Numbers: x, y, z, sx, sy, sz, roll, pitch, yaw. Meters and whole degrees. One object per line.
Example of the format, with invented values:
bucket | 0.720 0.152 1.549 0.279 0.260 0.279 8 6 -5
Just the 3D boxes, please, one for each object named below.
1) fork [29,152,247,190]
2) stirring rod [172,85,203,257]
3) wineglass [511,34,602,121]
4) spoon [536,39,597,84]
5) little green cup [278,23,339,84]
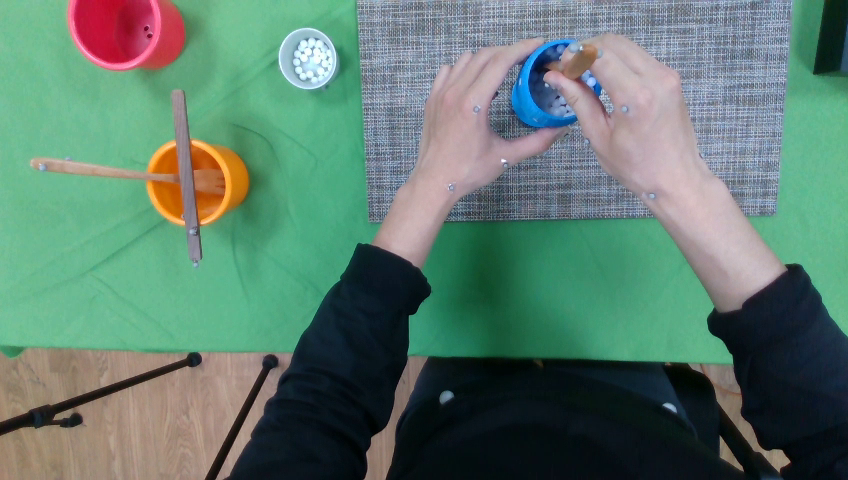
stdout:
fork | -0.286 -0.072 0.630 0.209 0.018 0.028 2 112 -40
stirring rod | -0.244 -0.069 0.625 0.014 0.006 0.176 -1 101 4
wineglass | 0.118 -0.147 0.569 0.073 0.172 0.074 1 100 5
spoon | 0.109 -0.132 0.456 0.041 0.193 0.022 24 105 1
little green cup | -0.121 -0.197 0.649 0.061 0.038 0.062 1 102 5
